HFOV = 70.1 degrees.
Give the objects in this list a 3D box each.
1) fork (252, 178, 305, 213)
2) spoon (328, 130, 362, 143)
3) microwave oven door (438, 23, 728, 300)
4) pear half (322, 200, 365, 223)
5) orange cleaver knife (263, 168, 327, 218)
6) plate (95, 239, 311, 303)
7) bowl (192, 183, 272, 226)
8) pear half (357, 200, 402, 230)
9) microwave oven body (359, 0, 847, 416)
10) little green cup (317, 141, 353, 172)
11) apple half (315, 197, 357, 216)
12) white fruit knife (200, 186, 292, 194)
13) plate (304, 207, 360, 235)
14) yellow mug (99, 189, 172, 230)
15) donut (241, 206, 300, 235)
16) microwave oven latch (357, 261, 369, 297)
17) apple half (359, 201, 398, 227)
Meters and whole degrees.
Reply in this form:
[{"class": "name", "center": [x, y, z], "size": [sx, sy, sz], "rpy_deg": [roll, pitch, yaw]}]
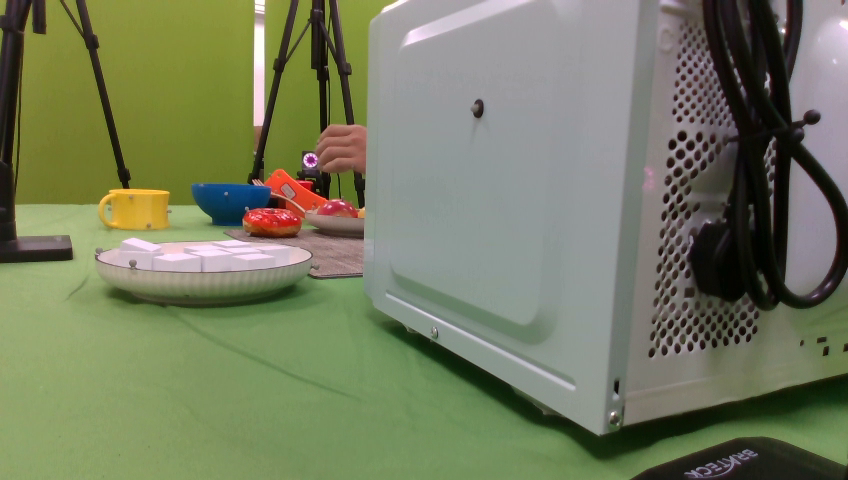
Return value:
[{"class": "fork", "center": [-0.295, -0.083, 1.292], "size": [0.206, 0.018, 0.028], "rpy_deg": [29, 11, 25]}, {"class": "spoon", "center": [-0.154, -0.246, 1.414], "size": [0.041, 0.021, 0.194], "rpy_deg": [3, 20, 32]}, {"class": "microwave oven door", "center": [0.181, -0.072, 0.621], "size": [0.358, 0.243, 0.039], "rpy_deg": [-2, 8, -29]}, {"class": "pear half", "center": [-0.157, -0.059, 1.197], "size": [0.088, 0.031, 0.070], "rpy_deg": [12, 30, -4]}, {"class": "orange cleaver knife", "center": [-0.262, -0.088, 1.353], "size": [0.211, 0.077, 0.012], "rpy_deg": [28, 13, -1]}, {"class": "plate", "center": [-0.224, 0.031, 0.629], "size": [0.208, 0.039, 0.207], "rpy_deg": [2, 8, 0]}, {"class": "bowl", "center": [-0.381, -0.071, 1.202], "size": [0.151, 0.077, 0.151], "rpy_deg": [3, 7, 0]}, {"class": "pear half", "center": [-0.075, -0.047, 1.133], "size": [0.076, 0.056, 0.110], "rpy_deg": [12, 7, 31]}, {"class": "microwave oven body", "center": [0.211, -0.047, 0.474], "size": [0.444, 0.260, 0.324], "rpy_deg": [-1, 7, -28]}, {"class": "little green cup", "center": [-0.149, -0.138, 1.007], "size": [0.061, 0.038, 0.061], "rpy_deg": [3, -7, 1]}, {"class": "apple half", "center": [-0.162, -0.052, 1.121], "size": [0.081, 0.053, 0.074], "rpy_deg": [4, 8, -14]}, {"class": "white fruit knife", "center": [-0.399, -0.111, 1.368], "size": [0.208, 0.016, 0.027], "rpy_deg": [-4, -19, -30]}, {"class": "plate", "center": [-0.123, -0.037, 1.148], "size": [0.209, 0.038, 0.209], "rpy_deg": [2, 7, 0]}, {"class": "yellow mug", "center": [-0.518, -0.055, 1.080], "size": [0.099, 0.064, 0.131], "rpy_deg": [7, 9, 26]}, {"class": "donut", "center": [-0.263, -0.032, 1.039], "size": [0.099, 0.048, 0.099], "rpy_deg": [4, 10, 0]}, {"class": "microwave oven latch", "center": [-0.019, 0.033, 0.530], "size": [0.079, 0.029, 0.030], "rpy_deg": [-1, 7, -26]}, {"class": "apple half", "center": [-0.088, -0.058, 1.190], "size": [0.081, 0.033, 0.081], "rpy_deg": [10, 29, -5]}]
